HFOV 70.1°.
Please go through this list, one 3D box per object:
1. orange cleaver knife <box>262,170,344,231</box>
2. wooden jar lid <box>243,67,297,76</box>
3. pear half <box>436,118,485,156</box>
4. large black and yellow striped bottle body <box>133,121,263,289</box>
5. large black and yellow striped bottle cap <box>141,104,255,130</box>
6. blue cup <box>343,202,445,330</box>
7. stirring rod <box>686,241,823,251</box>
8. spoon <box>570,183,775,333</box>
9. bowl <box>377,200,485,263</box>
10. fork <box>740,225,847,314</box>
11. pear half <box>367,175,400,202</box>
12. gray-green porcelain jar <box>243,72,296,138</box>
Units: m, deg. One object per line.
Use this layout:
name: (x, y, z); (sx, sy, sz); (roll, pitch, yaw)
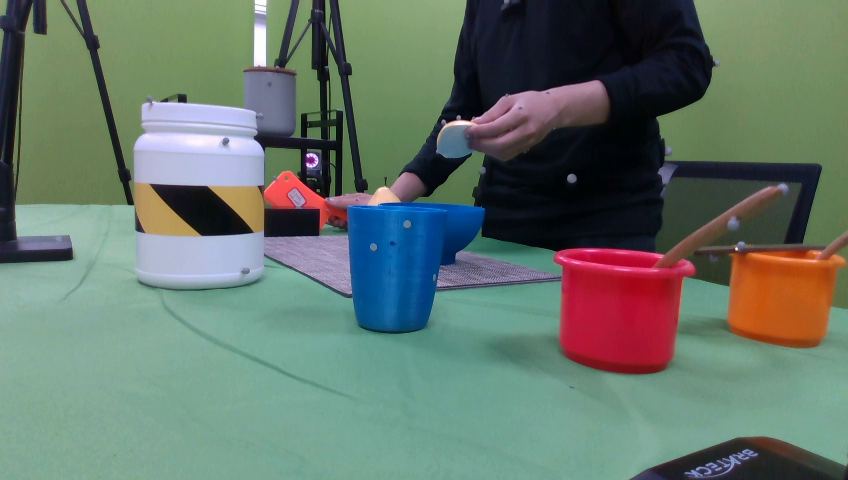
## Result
orange cleaver knife: (-0.202, -0.057, 1.137); (0.212, 0.077, 0.012); (31, -4, -32)
wooden jar lid: (-0.319, -0.342, 1.254); (0.108, 0.020, 0.108); (3, 8, 0)
pear half: (0.045, -0.152, 0.852); (0.070, 0.031, 0.088); (-35, -31, 17)
large black and yellow striped bottle body: (-0.243, -0.048, 0.659); (0.131, 0.184, 0.130); (2, 7, 0)
large black and yellow striped bottle cap: (-0.241, -0.131, 0.650); (0.115, 0.019, 0.115); (3, 8, 0)
blue cup: (-0.027, 0.020, 0.510); (0.093, 0.100, 0.092); (3, 5, 0)
stirring rod: (0.289, 0.005, 0.525); (0.177, 0.006, 0.014); (-1, 5, -26)
spoon: (0.160, 0.020, 0.413); (0.042, 0.021, 0.193); (0, -36, -23)
bowl: (0.008, -0.012, 0.842); (0.151, 0.077, 0.151); (2, 8, 0)
fork: (0.323, 0.013, 0.485); (0.028, 0.018, 0.207); (9, -38, -5)
pear half: (-0.064, -0.061, 1.077); (0.055, 0.110, 0.077); (9, 13, 39)
gray-green porcelain jar: (-0.322, -0.279, 1.263); (0.106, 0.126, 0.106); (3, 8, 0)
